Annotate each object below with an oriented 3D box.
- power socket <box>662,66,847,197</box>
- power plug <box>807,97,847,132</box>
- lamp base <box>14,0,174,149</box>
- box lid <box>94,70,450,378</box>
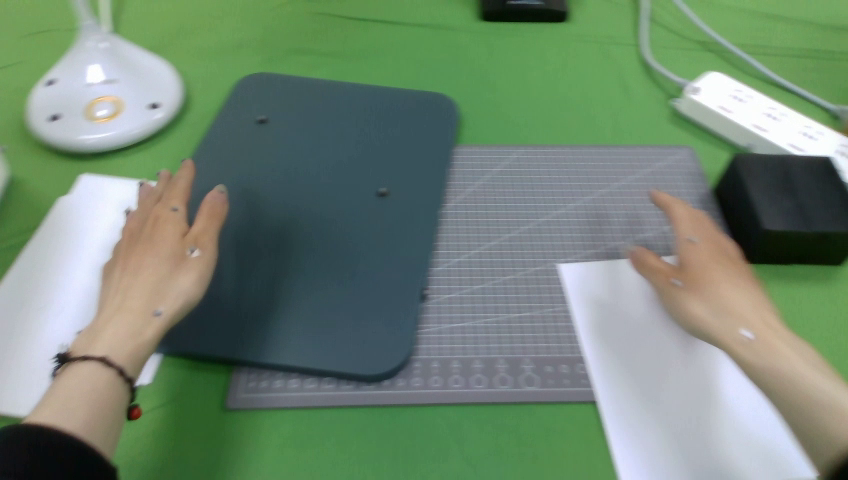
[{"bbox_3d":[0.377,-0.124,0.670,0.072,0.033,0.225,-36,61,-28],"label":"power socket"},{"bbox_3d":[0.471,-0.142,0.699,0.053,0.035,0.072,-27,23,-28],"label":"power plug"},{"bbox_3d":[-0.361,-0.213,0.608,0.161,0.182,0.177,-20,52,-18],"label":"lamp base"},{"bbox_3d":[-0.122,-0.043,0.592,0.263,0.015,0.368,7,51,4],"label":"box lid"}]
